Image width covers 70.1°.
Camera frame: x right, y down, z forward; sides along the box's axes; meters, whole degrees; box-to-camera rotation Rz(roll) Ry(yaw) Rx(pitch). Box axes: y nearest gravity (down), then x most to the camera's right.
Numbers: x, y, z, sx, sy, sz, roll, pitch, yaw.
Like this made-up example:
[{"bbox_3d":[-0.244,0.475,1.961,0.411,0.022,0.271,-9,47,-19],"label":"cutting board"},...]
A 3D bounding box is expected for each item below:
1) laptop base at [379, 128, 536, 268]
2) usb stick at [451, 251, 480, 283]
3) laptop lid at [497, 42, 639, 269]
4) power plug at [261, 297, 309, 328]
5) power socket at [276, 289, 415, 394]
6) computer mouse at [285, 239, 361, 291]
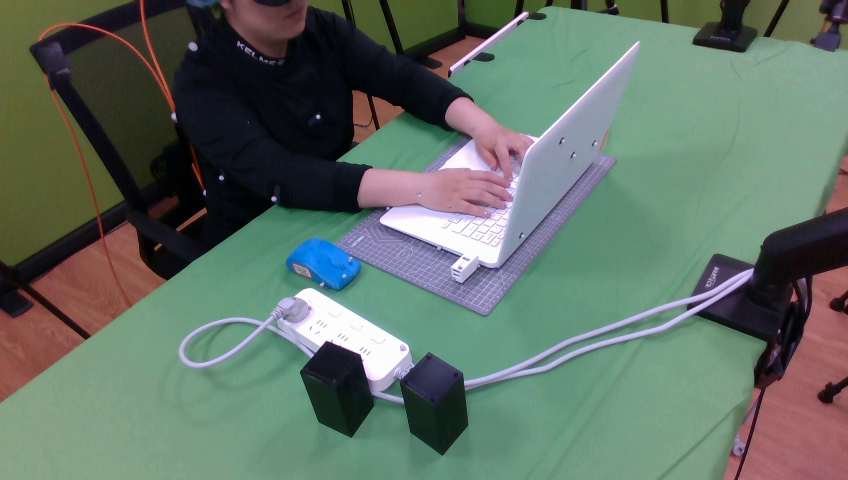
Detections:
[{"bbox_3d":[0.118,-0.088,1.059,0.233,0.023,0.355,19,47,33],"label":"laptop base"},{"bbox_3d":[0.066,0.036,0.899,0.021,0.027,0.059,23,46,32],"label":"usb stick"},{"bbox_3d":[0.221,-0.130,0.913,0.013,0.242,0.357,31,51,21],"label":"laptop lid"},{"bbox_3d":[-0.192,0.107,0.831,0.073,0.053,0.035,-32,43,-25],"label":"power plug"},{"bbox_3d":[-0.113,0.133,0.821,0.225,0.033,0.072,25,49,33],"label":"power socket"},{"bbox_3d":[-0.158,0.036,0.940,0.116,0.041,0.063,23,46,25],"label":"computer mouse"}]
